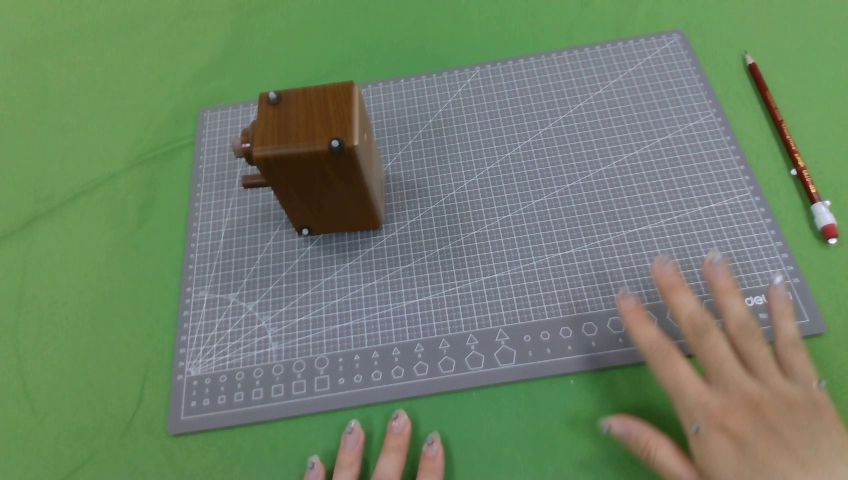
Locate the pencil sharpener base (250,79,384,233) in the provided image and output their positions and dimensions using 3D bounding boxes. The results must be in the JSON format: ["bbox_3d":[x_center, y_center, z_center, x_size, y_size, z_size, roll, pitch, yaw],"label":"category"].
[{"bbox_3d":[-0.075,-0.057,0.449,0.076,0.108,0.061,-6,60,4],"label":"pencil sharpener base"}]

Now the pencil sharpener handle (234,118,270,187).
[{"bbox_3d":[-0.128,-0.059,0.442,0.030,0.068,0.035,-6,64,4],"label":"pencil sharpener handle"}]

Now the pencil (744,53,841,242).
[{"bbox_3d":[0.287,-0.082,0.481,0.012,0.012,0.192,-6,58,4],"label":"pencil"}]
